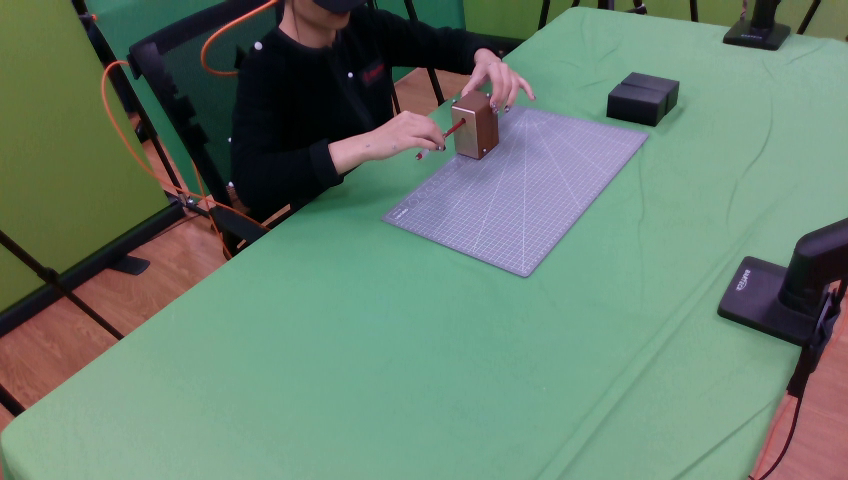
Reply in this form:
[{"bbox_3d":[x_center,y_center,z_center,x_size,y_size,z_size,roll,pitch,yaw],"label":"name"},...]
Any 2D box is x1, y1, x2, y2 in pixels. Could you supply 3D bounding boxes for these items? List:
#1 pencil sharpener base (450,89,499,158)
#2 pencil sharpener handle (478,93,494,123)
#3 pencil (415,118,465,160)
[{"bbox_3d":[0.100,-0.222,1.154,0.061,0.107,0.077,22,49,33],"label":"pencil sharpener base"},{"bbox_3d":[0.127,-0.262,1.176,0.036,0.068,0.031,31,53,23],"label":"pencil sharpener handle"},{"bbox_3d":[0.046,-0.197,1.094,0.012,0.012,0.194,23,50,32],"label":"pencil"}]
